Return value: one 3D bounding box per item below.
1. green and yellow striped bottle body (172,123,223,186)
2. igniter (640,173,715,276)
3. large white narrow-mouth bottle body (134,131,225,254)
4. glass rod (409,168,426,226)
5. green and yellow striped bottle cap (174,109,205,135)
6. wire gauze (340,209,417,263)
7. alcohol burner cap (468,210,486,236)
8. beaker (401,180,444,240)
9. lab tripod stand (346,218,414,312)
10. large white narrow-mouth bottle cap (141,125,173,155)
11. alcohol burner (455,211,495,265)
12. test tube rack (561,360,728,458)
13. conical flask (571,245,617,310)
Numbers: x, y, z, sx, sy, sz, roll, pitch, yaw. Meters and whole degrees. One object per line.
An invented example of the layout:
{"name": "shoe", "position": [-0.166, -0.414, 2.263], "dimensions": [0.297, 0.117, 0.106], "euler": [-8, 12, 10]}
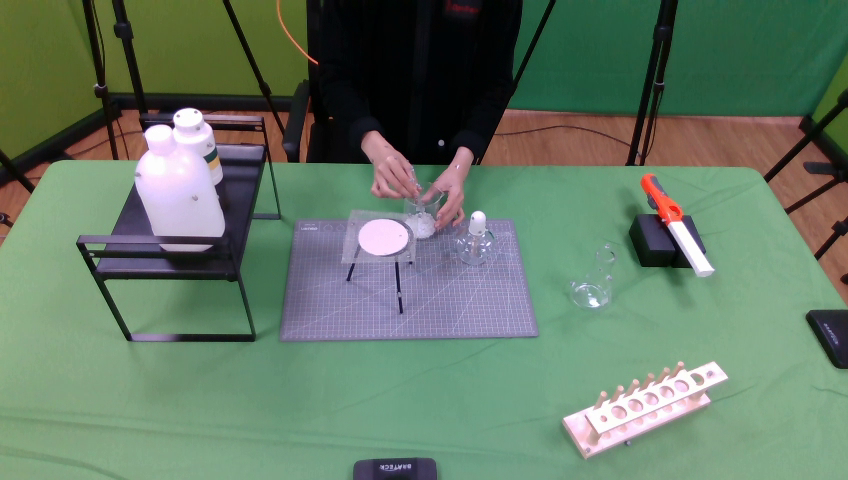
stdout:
{"name": "green and yellow striped bottle body", "position": [-0.373, -0.148, 0.994], "dimensions": [0.063, 0.120, 0.063], "euler": [2, 46, -2]}
{"name": "igniter", "position": [0.495, -0.039, 1.204], "dimensions": [0.057, 0.025, 0.274], "euler": [-2, 47, -12]}
{"name": "large white narrow-mouth bottle body", "position": [-0.358, -0.076, 0.875], "dimensions": [0.102, 0.195, 0.101], "euler": [1, 47, -1]}
{"name": "glass rod", "position": [-0.012, -0.077, 1.134], "dimensions": [0.008, 0.201, 0.008], "euler": [-3, 62, 6]}
{"name": "green and yellow striped bottle cap", "position": [-0.369, -0.186, 0.954], "dimensions": [0.045, 0.020, 0.045], "euler": [3, 50, -3]}
{"name": "wire gauze", "position": [-0.074, -0.007, 1.023], "dimensions": [0.121, 0.011, 0.124], "euler": [3, 46, 0]}
{"name": "alcohol burner cap", "position": [0.099, -0.034, 1.119], "dimensions": [0.034, 0.048, 0.033], "euler": [0, 53, 0]}
{"name": "beaker", "position": [-0.005, -0.056, 1.194], "dimensions": [0.084, 0.101, 0.073], "euler": [-7, 48, -11]}
{"name": "lab tripod stand", "position": [-0.070, 0.037, 1.075], "dimensions": [0.148, 0.132, 0.147], "euler": [1, 47, -1]}
{"name": "large white narrow-mouth bottle cap", "position": [-0.356, -0.134, 0.811], "dimensions": [0.038, 0.024, 0.037], "euler": [1, 47, -1]}
{"name": "alcohol burner", "position": [0.097, -0.010, 1.147], "dimensions": [0.078, 0.120, 0.077], "euler": [1, 47, -1]}
{"name": "test tube rack", "position": [0.341, 0.247, 0.940], "dimensions": [0.243, 0.085, 0.066], "euler": [-15, 49, -18]}
{"name": "conical flask", "position": [0.313, 0.064, 1.089], "dimensions": [0.075, 0.122, 0.075], "euler": [2, 46, -2]}
